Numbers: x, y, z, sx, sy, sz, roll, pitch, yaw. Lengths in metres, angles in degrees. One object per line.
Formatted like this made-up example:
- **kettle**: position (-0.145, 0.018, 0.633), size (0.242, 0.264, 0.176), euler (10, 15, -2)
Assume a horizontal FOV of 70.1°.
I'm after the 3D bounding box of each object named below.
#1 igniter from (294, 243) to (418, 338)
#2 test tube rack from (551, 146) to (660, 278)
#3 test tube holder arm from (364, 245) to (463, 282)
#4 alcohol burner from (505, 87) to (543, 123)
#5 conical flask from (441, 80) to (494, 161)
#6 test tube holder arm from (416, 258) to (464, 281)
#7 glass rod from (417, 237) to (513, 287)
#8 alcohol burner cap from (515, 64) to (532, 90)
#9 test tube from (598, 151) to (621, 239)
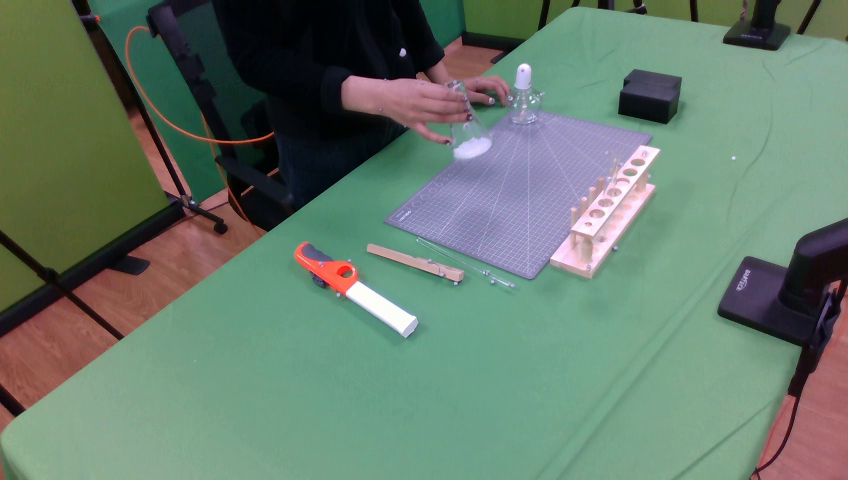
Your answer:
- **igniter**: position (-0.114, 0.070, 0.919), size (0.274, 0.025, 0.057), euler (29, 63, 37)
- **test tube rack**: position (0.286, -0.053, 0.943), size (0.066, 0.085, 0.243), euler (21, 49, 32)
- **test tube holder arm**: position (-0.020, 0.035, 0.946), size (0.177, 0.015, 0.013), euler (16, 10, 26)
- **alcohol burner**: position (0.202, -0.298, 1.222), size (0.078, 0.119, 0.077), euler (-4, 40, 4)
- **conical flask**: position (0.063, -0.196, 0.984), size (0.075, 0.122, 0.075), euler (-16, 28, 9)
- **test tube holder arm**: position (0.021, 0.045, 0.931), size (0.087, 0.015, 0.010), euler (16, 10, 27)
- **glass rod**: position (0.059, 0.033, 0.945), size (0.198, 0.008, 0.008), euler (26, 52, 38)
- **alcohol burner cap**: position (0.199, -0.324, 1.198), size (0.034, 0.048, 0.033), euler (0, 46, 1)
- **test tube**: position (0.269, -0.062, 0.880), size (0.017, 0.151, 0.017), euler (-3, 39, 3)
